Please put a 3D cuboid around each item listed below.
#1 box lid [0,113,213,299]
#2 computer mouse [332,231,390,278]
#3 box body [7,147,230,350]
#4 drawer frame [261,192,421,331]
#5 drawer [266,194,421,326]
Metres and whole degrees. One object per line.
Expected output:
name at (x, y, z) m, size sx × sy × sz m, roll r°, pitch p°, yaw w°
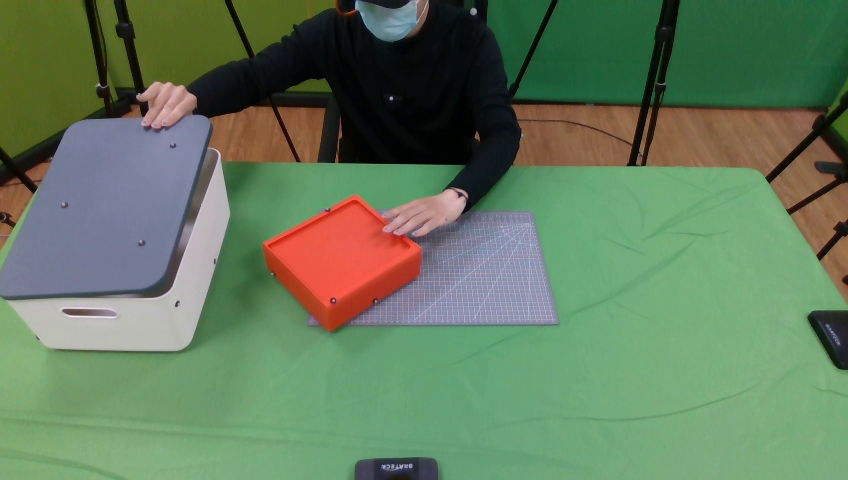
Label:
box lid at (-0.497, -0.070, 0.971) m, size 0.263 × 0.015 × 0.369 m, roll -3°, pitch 54°, yaw 3°
computer mouse at (-0.120, 0.022, 1.142) m, size 0.063 × 0.041 × 0.116 m, roll -35°, pitch 51°, yaw -27°
box body at (-0.502, 0.007, 1.055) m, size 0.254 × 0.161 × 0.361 m, roll 1°, pitch 46°, yaw -3°
drawer frame at (-0.148, 0.032, 1.110) m, size 0.213 × 0.083 × 0.200 m, roll -33°, pitch 57°, yaw -29°
drawer at (-0.146, 0.031, 1.113) m, size 0.212 × 0.073 × 0.193 m, roll -33°, pitch 58°, yaw -29°
